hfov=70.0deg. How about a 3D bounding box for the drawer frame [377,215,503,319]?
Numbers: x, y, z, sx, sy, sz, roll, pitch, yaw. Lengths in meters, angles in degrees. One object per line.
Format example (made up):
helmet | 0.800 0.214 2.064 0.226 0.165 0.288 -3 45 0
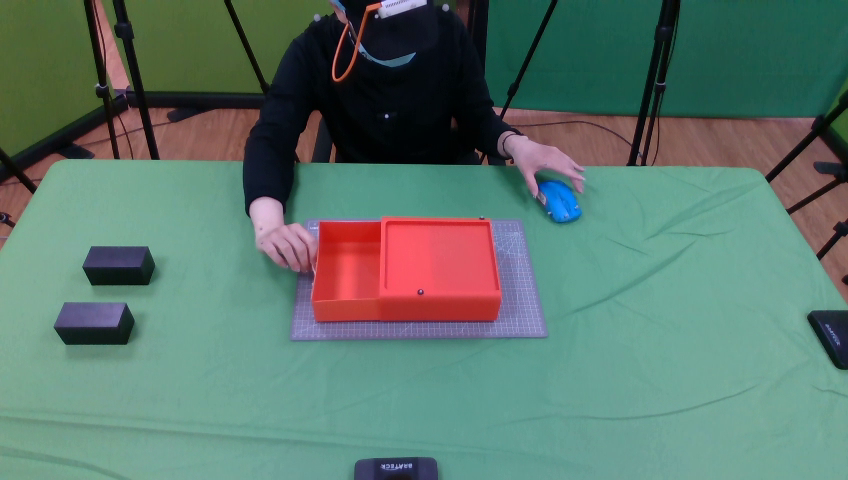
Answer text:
drawer frame | 0.024 0.047 1.103 0.214 0.083 0.200 1 46 -4

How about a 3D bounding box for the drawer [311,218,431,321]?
drawer | -0.091 0.048 1.096 0.212 0.073 0.193 -1 46 -3

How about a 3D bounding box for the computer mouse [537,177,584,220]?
computer mouse | 0.291 -0.092 1.288 0.063 0.041 0.116 -13 52 -18
